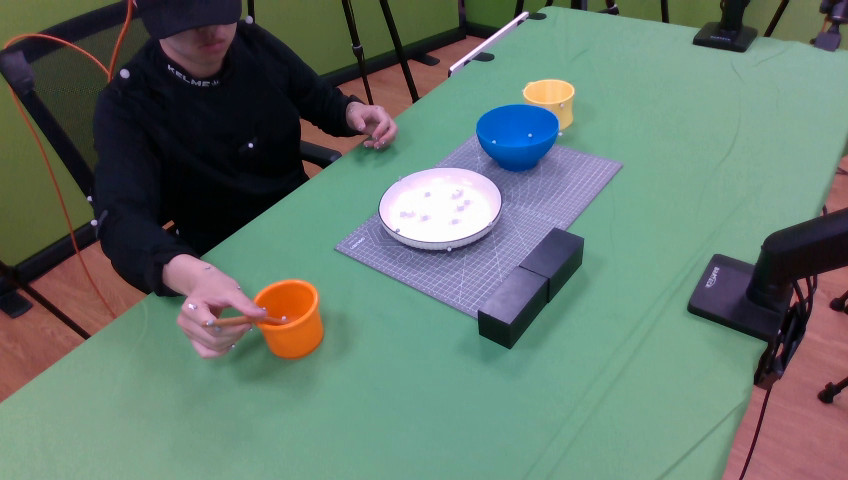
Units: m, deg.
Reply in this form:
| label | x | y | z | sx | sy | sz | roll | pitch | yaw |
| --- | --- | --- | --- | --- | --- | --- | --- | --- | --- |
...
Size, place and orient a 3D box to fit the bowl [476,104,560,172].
| label | x | y | z | sx | sy | sz | roll | pitch | yaw |
| --- | --- | --- | --- | --- | --- | --- | --- | --- | --- |
| bowl | 0.171 | -0.178 | 1.105 | 0.151 | 0.077 | 0.150 | -4 | 40 | 4 |

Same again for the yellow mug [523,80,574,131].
| label | x | y | z | sx | sy | sz | roll | pitch | yaw |
| --- | --- | --- | --- | --- | --- | --- | --- | --- | --- |
| yellow mug | 0.242 | -0.278 | 1.224 | 0.100 | 0.064 | 0.129 | -24 | 42 | -18 |

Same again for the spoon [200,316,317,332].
| label | x | y | z | sx | sy | sz | roll | pitch | yaw |
| --- | --- | --- | --- | --- | --- | --- | --- | --- | --- |
| spoon | -0.208 | 0.106 | 0.775 | 0.041 | 0.195 | 0.021 | -3 | 79 | 30 |

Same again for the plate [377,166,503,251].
| label | x | y | z | sx | sy | sz | roll | pitch | yaw |
| --- | --- | --- | --- | --- | --- | --- | --- | --- | --- |
| plate | 0.027 | -0.050 | 1.007 | 0.209 | 0.038 | 0.208 | -4 | 41 | 4 |
